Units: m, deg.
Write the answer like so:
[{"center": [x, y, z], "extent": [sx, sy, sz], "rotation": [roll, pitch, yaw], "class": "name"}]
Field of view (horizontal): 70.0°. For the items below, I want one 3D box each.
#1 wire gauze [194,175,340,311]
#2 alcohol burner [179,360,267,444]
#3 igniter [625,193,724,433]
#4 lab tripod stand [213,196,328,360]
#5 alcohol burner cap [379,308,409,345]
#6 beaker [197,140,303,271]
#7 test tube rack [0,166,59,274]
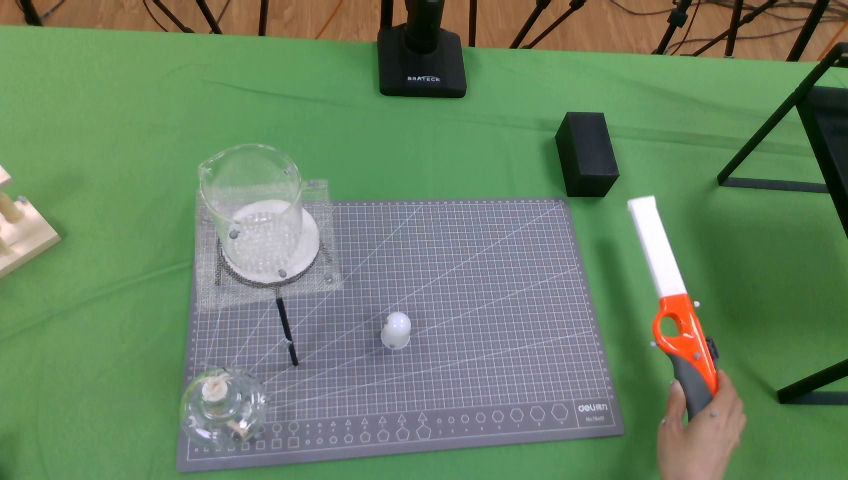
[{"center": [-0.144, -0.003, 0.549], "extent": [0.122, 0.011, 0.124], "rotation": [-7, 67, -10], "class": "wire gauze"}, {"center": [-0.184, 0.142, 0.550], "extent": [0.078, 0.120, 0.077], "rotation": [5, 59, -8], "class": "alcohol burner"}, {"center": [0.268, 0.068, 0.658], "extent": [0.057, 0.025, 0.274], "rotation": [-10, 60, 7], "class": "igniter"}, {"center": [-0.148, 0.032, 0.604], "extent": [0.149, 0.132, 0.147], "rotation": [4, 62, -8], "class": "lab tripod stand"}, {"center": [-0.031, 0.090, 0.643], "extent": [0.034, 0.048, 0.033], "rotation": [2, 65, -5], "class": "alcohol burner cap"}, {"center": [-0.141, -0.024, 0.504], "extent": [0.084, 0.101, 0.073], "rotation": [21, 61, 3], "class": "beaker"}, {"center": [-0.500, 0.026, 0.584], "extent": [0.066, 0.086, 0.242], "rotation": [42, 64, 15], "class": "test tube rack"}]
